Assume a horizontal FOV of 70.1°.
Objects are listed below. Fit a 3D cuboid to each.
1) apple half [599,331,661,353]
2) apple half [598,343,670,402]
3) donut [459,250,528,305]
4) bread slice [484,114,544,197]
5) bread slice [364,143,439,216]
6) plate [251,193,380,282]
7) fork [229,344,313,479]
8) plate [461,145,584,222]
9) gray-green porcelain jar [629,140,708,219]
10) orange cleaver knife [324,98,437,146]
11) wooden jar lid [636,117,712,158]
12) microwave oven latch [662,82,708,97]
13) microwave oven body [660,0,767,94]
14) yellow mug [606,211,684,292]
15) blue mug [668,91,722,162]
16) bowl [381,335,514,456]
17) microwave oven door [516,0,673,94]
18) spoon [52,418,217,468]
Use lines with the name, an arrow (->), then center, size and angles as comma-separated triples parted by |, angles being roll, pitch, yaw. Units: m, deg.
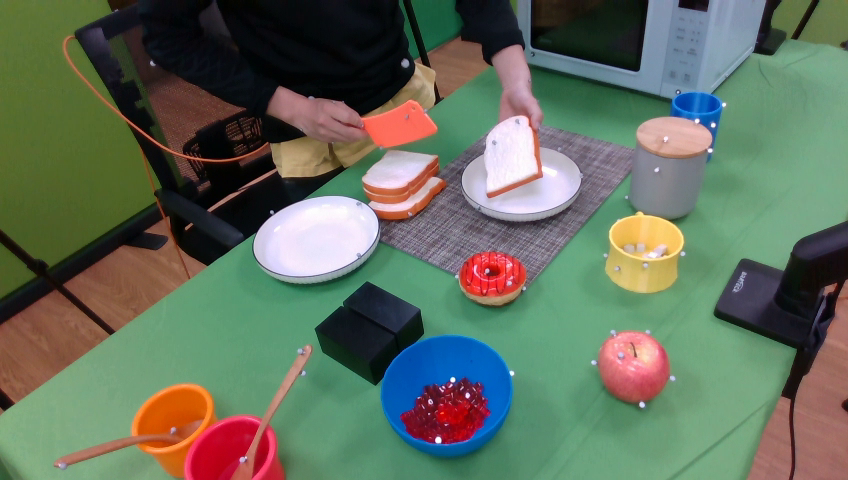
apple half -> 0.249, 0.134, 0.738 | 0.081, 0.081, 0.032 | -1, 46, 7
apple half -> 0.247, 0.161, 0.710 | 0.081, 0.075, 0.053 | 2, 47, 5
donut -> 0.100, 0.053, 0.872 | 0.099, 0.048, 0.098 | -5, 40, 4
bread slice -> 0.143, -0.145, 1.003 | 0.104, 0.019, 0.131 | -22, 59, 35
bread slice -> -0.048, -0.106, 1.038 | 0.106, 0.018, 0.134 | 18, 75, 22
plate -> -0.174, -0.001, 0.984 | 0.209, 0.038, 0.208 | -3, 40, 3
fork -> -0.173, 0.205, 0.662 | 0.028, 0.019, 0.207 | 29, 94, 36
plate -> 0.168, -0.095, 1.040 | 0.207, 0.039, 0.206 | -4, 40, 4
gray-green porcelain jar -> 0.383, -0.105, 0.958 | 0.106, 0.127, 0.105 | -4, 41, 4
orange cleaver knife -> -0.077, -0.194, 1.033 | 0.210, 0.078, 0.012 | -5, 43, 31
wooden jar lid -> 0.377, -0.151, 0.917 | 0.108, 0.021, 0.108 | -2, 42, 2
microwave oven latch -> 0.517, -0.298, 1.202 | 0.078, 0.029, 0.030 | 27, 52, 34
microwave oven body -> 0.473, -0.516, 1.313 | 0.438, 0.261, 0.327 | 26, 51, 34
yellow mug -> 0.318, 0.008, 0.883 | 0.100, 0.064, 0.130 | 0, 40, 9
blue mug -> 0.475, -0.207, 1.078 | 0.082, 0.106, 0.116 | 4, 42, 13
bowl -> 0.029, 0.192, 0.701 | 0.151, 0.077, 0.150 | -4, 40, 4
microwave oven door -> 0.344, -0.458, 1.257 | 0.353, 0.245, 0.039 | 26, 52, 33
spoon -> -0.308, 0.220, 0.663 | 0.041, 0.195, 0.021 | 21, 93, 29
